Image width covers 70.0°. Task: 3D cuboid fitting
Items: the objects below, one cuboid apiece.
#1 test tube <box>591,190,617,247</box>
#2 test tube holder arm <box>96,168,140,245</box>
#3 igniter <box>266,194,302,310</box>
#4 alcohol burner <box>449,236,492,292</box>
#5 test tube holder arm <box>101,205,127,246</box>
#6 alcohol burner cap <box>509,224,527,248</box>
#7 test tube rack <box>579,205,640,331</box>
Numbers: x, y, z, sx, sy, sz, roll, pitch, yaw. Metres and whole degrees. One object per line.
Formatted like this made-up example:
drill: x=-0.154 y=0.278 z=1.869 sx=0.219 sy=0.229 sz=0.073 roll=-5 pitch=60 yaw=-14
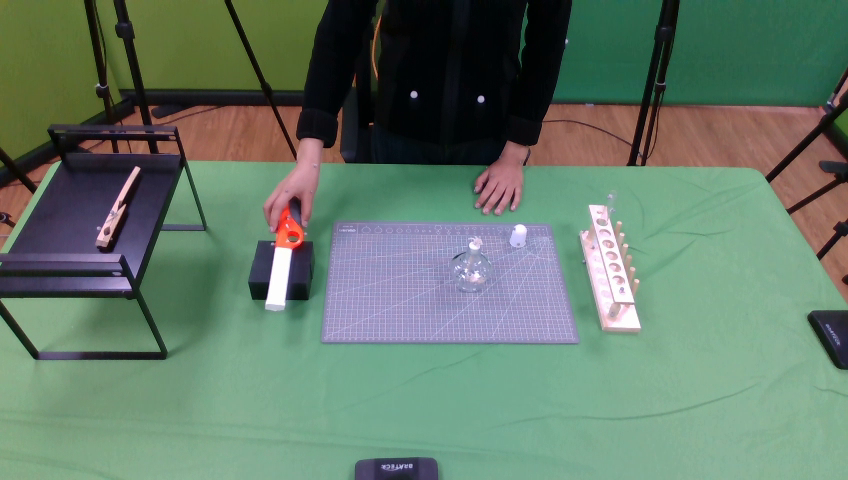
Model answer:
test tube: x=0.340 y=-0.038 z=1.149 sx=0.017 sy=0.151 sz=0.017 roll=1 pitch=50 yaw=-1
test tube holder arm: x=-0.486 y=-0.058 z=0.968 sx=0.013 sy=0.015 sz=0.177 roll=27 pitch=37 yaw=-26
igniter: x=-0.253 y=0.011 z=1.099 sx=0.057 sy=0.025 sz=0.274 roll=9 pitch=45 yaw=-13
alcohol burner: x=0.087 y=0.038 z=1.101 sx=0.078 sy=0.119 sz=0.077 roll=3 pitch=45 yaw=-3
test tube holder arm: x=-0.480 y=-0.025 z=0.938 sx=0.010 sy=0.015 sz=0.087 roll=27 pitch=37 yaw=-26
alcohol burner cap: x=0.189 y=-0.011 z=1.206 sx=0.034 sy=0.048 sz=0.033 roll=2 pitch=46 yaw=-2
test tube rack: x=0.353 y=0.047 z=1.137 sx=0.067 sy=0.085 sz=0.241 roll=2 pitch=46 yaw=-2
